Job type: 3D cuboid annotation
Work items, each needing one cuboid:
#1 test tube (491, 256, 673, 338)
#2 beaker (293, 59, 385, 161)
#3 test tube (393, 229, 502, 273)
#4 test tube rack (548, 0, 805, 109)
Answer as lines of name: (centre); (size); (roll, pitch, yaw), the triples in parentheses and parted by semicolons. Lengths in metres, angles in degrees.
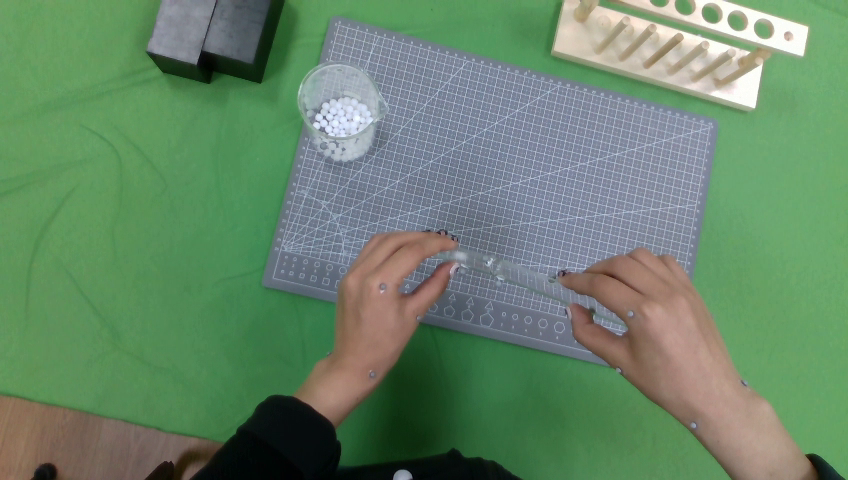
test tube: (0.124, 0.045, 0.476); (0.150, 0.017, 0.017); (21, 82, 1)
beaker: (-0.082, -0.122, 0.596); (0.084, 0.100, 0.074); (6, 83, -6)
test tube: (0.015, 0.008, 0.541); (0.017, 0.149, 0.017); (-8, 104, -34)
test tube rack: (0.268, -0.218, 0.656); (0.243, 0.085, 0.066); (14, 82, -5)
